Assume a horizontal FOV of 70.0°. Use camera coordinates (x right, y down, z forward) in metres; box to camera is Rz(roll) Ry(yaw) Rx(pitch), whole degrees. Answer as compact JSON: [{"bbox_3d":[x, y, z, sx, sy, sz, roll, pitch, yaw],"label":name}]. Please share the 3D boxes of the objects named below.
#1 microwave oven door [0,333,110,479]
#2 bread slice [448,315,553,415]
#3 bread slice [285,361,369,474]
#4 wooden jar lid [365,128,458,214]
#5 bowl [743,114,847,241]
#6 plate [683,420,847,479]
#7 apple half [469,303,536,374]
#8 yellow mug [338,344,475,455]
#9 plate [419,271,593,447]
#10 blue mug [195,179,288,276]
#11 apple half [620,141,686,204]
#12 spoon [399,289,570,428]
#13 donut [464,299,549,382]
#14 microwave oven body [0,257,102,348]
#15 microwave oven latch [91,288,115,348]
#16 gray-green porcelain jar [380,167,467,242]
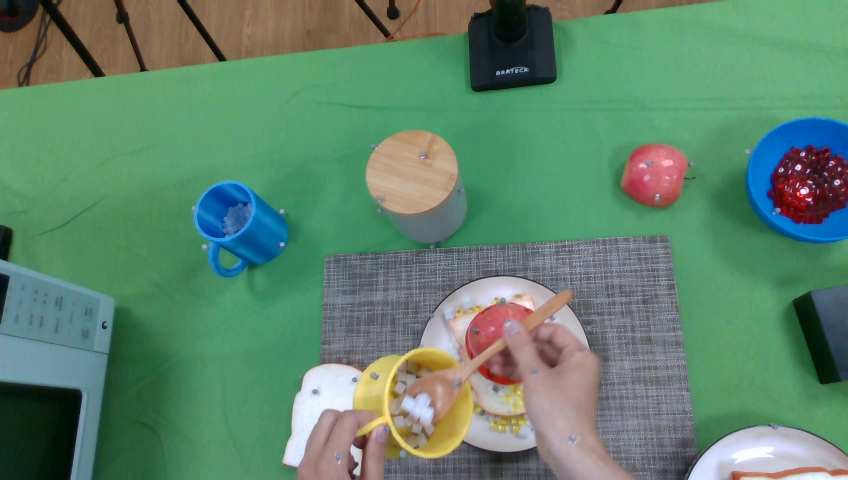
[{"bbox_3d":[-0.458,0.286,0.661,0.039,0.245,0.353,-4,73,9],"label":"microwave oven door"},{"bbox_3d":[0.099,0.144,0.741,0.107,0.018,0.133,-20,63,-1],"label":"bread slice"},{"bbox_3d":[-0.116,0.218,0.757,0.104,0.019,0.131,4,76,10],"label":"bread slice"},{"bbox_3d":[-0.014,-0.079,0.705,0.108,0.021,0.107,-2,71,7],"label":"wooden jar lid"},{"bbox_3d":[0.447,-0.063,0.713,0.151,0.077,0.150,-3,74,10],"label":"bowl"},{"bbox_3d":[0.376,0.298,0.639,0.209,0.038,0.208,-3,73,9],"label":"plate"},{"bbox_3d":[0.087,0.107,0.674,0.081,0.033,0.080,-6,68,15],"label":"apple half"},{"bbox_3d":[-0.021,0.159,0.576,0.131,0.064,0.099,-17,84,-35],"label":"yellow mug"},{"bbox_3d":[0.096,0.141,0.731,0.207,0.039,0.206,-3,74,9],"label":"plate"},{"bbox_3d":[-0.245,-0.008,0.802,0.082,0.106,0.116,17,77,14],"label":"blue mug"},{"bbox_3d":[0.290,-0.091,0.762,0.074,0.054,0.080,18,78,17],"label":"apple half"},{"bbox_3d":[0.058,0.108,0.560,0.194,0.022,0.041,-38,70,6],"label":"spoon"},{"bbox_3d":[0.096,0.117,0.709,0.099,0.048,0.098,-3,74,10],"label":"donut"},{"bbox_3d":[-0.601,0.256,0.700,0.325,0.262,0.439,-3,74,9],"label":"microwave oven body"},{"bbox_3d":[-0.441,0.106,0.819,0.030,0.030,0.078,0,74,10],"label":"microwave oven latch"},{"bbox_3d":[-0.002,-0.060,0.765,0.106,0.127,0.105,-3,73,9],"label":"gray-green porcelain jar"}]
